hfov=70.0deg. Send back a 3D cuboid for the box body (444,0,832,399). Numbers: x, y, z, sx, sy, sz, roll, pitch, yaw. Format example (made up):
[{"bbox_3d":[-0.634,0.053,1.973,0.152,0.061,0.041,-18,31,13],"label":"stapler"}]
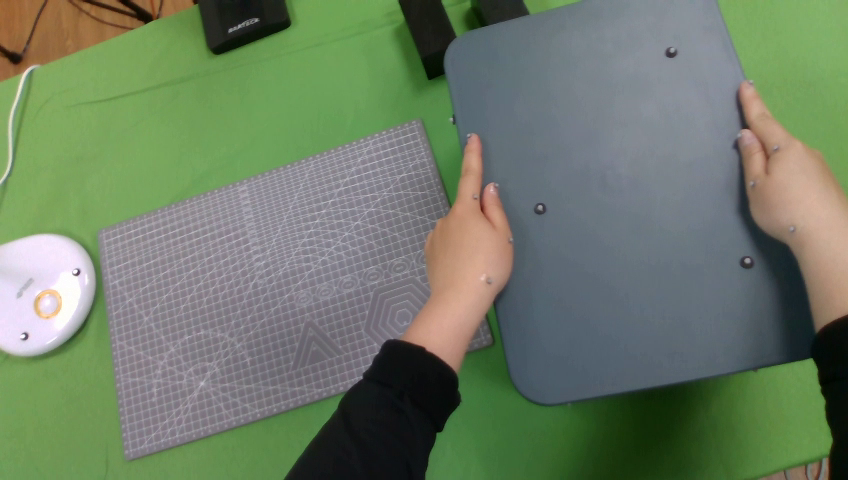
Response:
[{"bbox_3d":[0.183,-0.037,0.609,0.254,0.161,0.361,-13,72,6],"label":"box body"}]

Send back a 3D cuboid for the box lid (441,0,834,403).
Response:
[{"bbox_3d":[0.170,-0.061,0.541,0.263,0.015,0.369,-13,73,7],"label":"box lid"}]

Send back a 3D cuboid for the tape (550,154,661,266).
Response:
[{"bbox_3d":[0.195,-0.033,0.657,0.116,0.053,0.116,-3,73,9],"label":"tape"}]

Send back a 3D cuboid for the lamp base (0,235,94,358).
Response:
[{"bbox_3d":[-0.522,0.044,0.706,0.178,0.181,0.160,19,78,18],"label":"lamp base"}]
